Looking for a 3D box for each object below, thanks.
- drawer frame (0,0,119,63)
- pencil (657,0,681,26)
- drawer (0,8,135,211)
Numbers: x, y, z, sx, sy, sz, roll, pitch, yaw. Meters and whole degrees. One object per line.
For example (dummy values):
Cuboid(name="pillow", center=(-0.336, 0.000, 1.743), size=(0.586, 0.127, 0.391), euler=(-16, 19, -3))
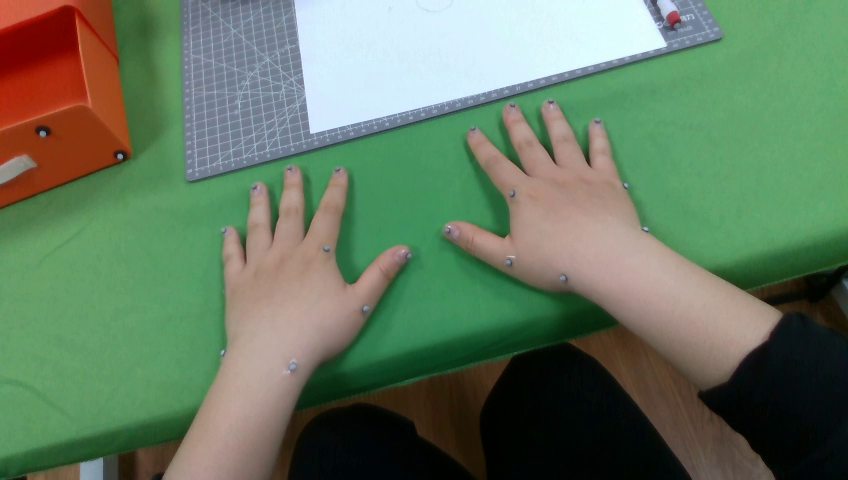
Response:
Cuboid(name="drawer frame", center=(-0.412, -0.225, 0.580), size=(0.202, 0.083, 0.211), euler=(-22, 61, -2))
Cuboid(name="pencil", center=(0.182, -0.256, 0.535), size=(0.012, 0.012, 0.192), euler=(-16, 60, 1))
Cuboid(name="drawer", center=(-0.371, -0.129, 0.526), size=(0.194, 0.074, 0.209), euler=(-22, 61, -2))
